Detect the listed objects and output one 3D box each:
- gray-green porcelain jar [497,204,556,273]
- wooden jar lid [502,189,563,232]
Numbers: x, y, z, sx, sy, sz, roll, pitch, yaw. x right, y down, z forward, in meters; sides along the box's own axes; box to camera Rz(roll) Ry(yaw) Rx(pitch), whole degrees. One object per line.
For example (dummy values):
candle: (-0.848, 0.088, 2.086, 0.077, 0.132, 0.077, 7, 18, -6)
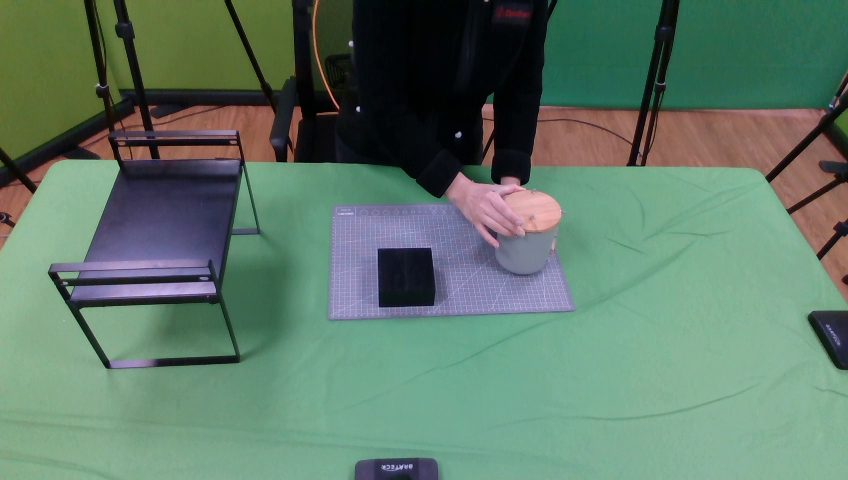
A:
gray-green porcelain jar: (0.192, -0.008, 1.144, 0.106, 0.127, 0.105, -1, 47, 1)
wooden jar lid: (0.195, -0.050, 1.094, 0.108, 0.021, 0.107, 1, 45, -1)
